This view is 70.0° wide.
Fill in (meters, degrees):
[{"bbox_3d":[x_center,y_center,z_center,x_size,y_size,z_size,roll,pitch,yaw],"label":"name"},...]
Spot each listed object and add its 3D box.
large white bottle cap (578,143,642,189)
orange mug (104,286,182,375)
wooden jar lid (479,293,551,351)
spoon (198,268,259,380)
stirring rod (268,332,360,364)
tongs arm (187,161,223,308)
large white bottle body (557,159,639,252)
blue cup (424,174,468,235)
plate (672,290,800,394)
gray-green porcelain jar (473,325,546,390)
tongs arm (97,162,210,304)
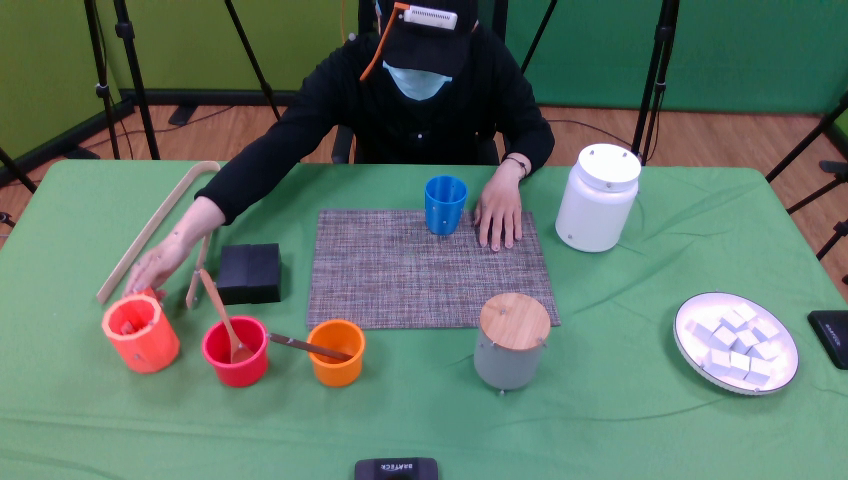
[{"bbox_3d":[0.344,-0.139,1.123,0.115,0.018,0.114,2,46,-2],"label":"large white bottle cap"},{"bbox_3d":[-0.446,0.138,0.973,0.083,0.101,0.125,-6,52,-5],"label":"orange mug"},{"bbox_3d":[0.138,0.127,0.925,0.108,0.021,0.107,1,47,-1],"label":"wooden jar lid"},{"bbox_3d":[-0.312,0.133,0.962,0.041,0.021,0.194,-24,96,-22],"label":"spoon"},{"bbox_3d":[-0.167,0.169,0.942,0.177,0.006,0.014,26,27,-41],"label":"stirring rod"},{"bbox_3d":[-0.435,-0.025,1.180,0.051,0.027,0.382,-3,45,0],"label":"tongs arm"},{"bbox_3d":[0.340,-0.081,1.184,0.131,0.185,0.130,2,46,-1],"label":"large white bottle body"},{"bbox_3d":[0.039,-0.064,1.201,0.093,0.101,0.092,3,46,-3],"label":"blue cup"},{"bbox_3d":[0.533,0.179,1.050,0.208,0.039,0.206,2,46,-2],"label":"plate"},{"bbox_3d":[0.135,0.170,0.969,0.106,0.127,0.105,2,46,-2],"label":"gray-green porcelain jar"},{"bbox_3d":[-0.520,-0.029,1.182,0.028,0.028,0.385,5,45,12],"label":"tongs arm"}]
